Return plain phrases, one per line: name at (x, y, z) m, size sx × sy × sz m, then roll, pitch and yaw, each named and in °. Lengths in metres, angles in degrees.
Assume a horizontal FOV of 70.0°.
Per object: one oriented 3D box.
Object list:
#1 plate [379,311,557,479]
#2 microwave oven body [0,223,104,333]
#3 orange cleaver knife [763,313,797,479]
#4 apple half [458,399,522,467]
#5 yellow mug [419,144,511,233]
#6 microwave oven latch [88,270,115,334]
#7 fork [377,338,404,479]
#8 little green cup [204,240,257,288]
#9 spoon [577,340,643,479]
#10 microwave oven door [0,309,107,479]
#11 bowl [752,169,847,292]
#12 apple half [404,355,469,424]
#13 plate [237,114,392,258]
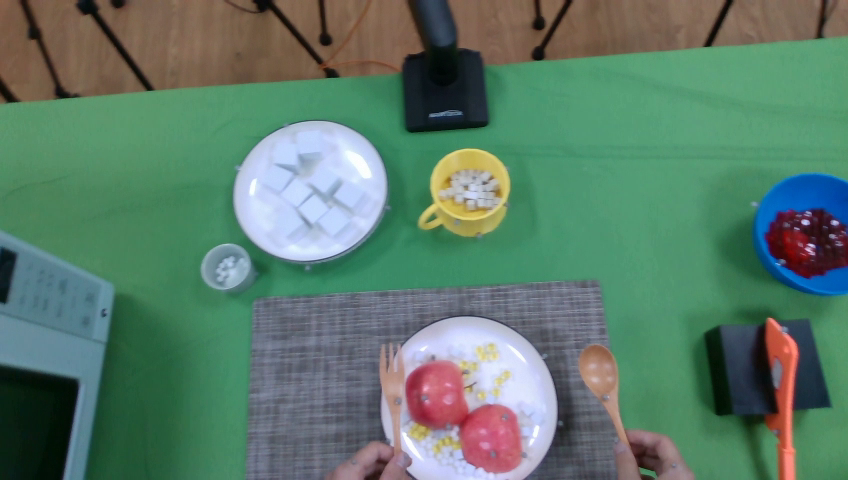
plate at (0.051, 0.189, 0.720) m, size 0.209 × 0.038 × 0.208 m, roll -1°, pitch 73°, yaw 3°
microwave oven body at (-0.574, 0.216, 0.634) m, size 0.326 × 0.262 × 0.439 m, roll 0°, pitch 73°, yaw 3°
orange cleaver knife at (0.396, 0.190, 0.678) m, size 0.012 × 0.077 × 0.211 m, roll -2°, pitch 96°, yaw 7°
apple half at (0.076, 0.224, 0.701) m, size 0.081 × 0.033 × 0.081 m, roll -2°, pitch 70°, yaw 5°
yellow mug at (0.049, -0.058, 0.789) m, size 0.131 × 0.064 × 0.099 m, roll -33°, pitch 73°, yaw -7°
microwave oven latch at (-0.416, 0.079, 0.770) m, size 0.030 × 0.030 × 0.078 m, roll 2°, pitch 73°, yaw 4°
fork at (-0.032, 0.208, 0.642) m, size 0.018 × 0.028 × 0.206 m, roll -22°, pitch 66°, yaw 41°
little green cup at (-0.250, 0.034, 0.792) m, size 0.061 × 0.039 × 0.061 m, roll -1°, pitch 74°, yaw 4°
spoon at (0.207, 0.202, 0.646) m, size 0.041 × 0.022 × 0.192 m, roll -15°, pitch 72°, yaw 0°
microwave oven door at (-0.430, 0.255, 0.607) m, size 0.039 × 0.245 × 0.353 m, roll 0°, pitch 72°, yaw 4°
bowl at (0.467, -0.003, 0.738) m, size 0.151 × 0.077 × 0.150 m, roll -1°, pitch 72°, yaw 4°
apple half at (0.013, 0.175, 0.711) m, size 0.074 × 0.054 × 0.080 m, roll -5°, pitch 73°, yaw 4°
plate at (-0.145, -0.071, 0.821) m, size 0.207 × 0.039 × 0.206 m, roll -1°, pitch 72°, yaw 4°
